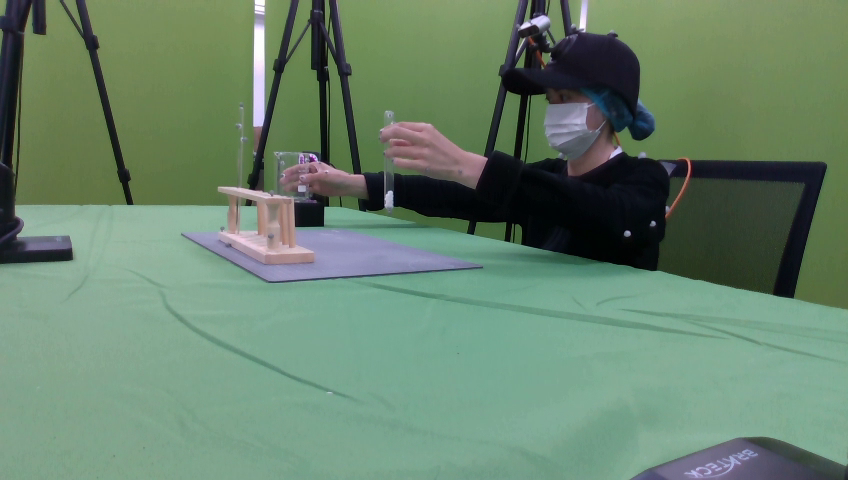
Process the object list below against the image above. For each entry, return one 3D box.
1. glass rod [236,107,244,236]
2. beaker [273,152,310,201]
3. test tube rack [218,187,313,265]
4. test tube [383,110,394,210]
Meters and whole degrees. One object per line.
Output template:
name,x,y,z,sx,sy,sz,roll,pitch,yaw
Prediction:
glass rod,-0.282,-0.102,0.924,0.008,0.199,0.008,2,2,0
beaker,-0.277,-0.131,1.249,0.073,0.100,0.084,6,9,27
test tube rack,-0.235,-0.027,0.872,0.067,0.085,0.241,-2,8,-32
test tube,-0.054,-0.121,0.919,0.017,0.150,0.017,0,1,0
